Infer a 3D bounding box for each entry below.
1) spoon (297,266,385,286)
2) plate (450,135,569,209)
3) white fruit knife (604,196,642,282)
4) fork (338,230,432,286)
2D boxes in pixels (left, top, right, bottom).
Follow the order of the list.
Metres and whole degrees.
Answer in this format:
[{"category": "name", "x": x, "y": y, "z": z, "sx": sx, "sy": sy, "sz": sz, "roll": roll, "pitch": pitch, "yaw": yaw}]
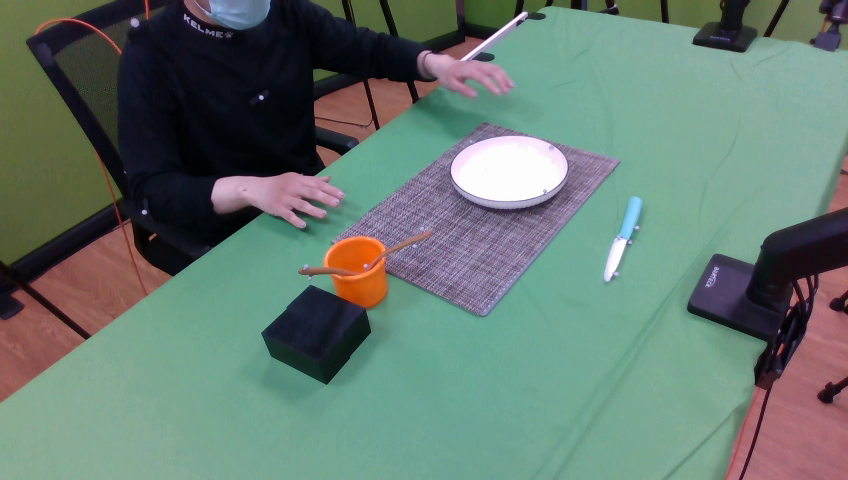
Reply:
[{"category": "spoon", "x": -0.112, "y": 0.047, "z": 0.826, "sx": 0.041, "sy": 0.195, "sz": 0.021, "roll": -25, "pitch": 71, "yaw": 23}, {"category": "plate", "x": 0.149, "y": -0.117, "z": 1.066, "sx": 0.209, "sy": 0.038, "sz": 0.208, "roll": -3, "pitch": 41, "yaw": 3}, {"category": "white fruit knife", "x": 0.309, "y": -0.004, "z": 0.938, "sx": 0.027, "sy": 0.016, "sz": 0.207, "roll": -12, "pitch": 33, "yaw": 41}, {"category": "fork", "x": -0.058, "y": 0.028, "z": 0.846, "sx": 0.206, "sy": 0.018, "sz": 0.028, "roll": -34, "pitch": 5, "yaw": 43}]
